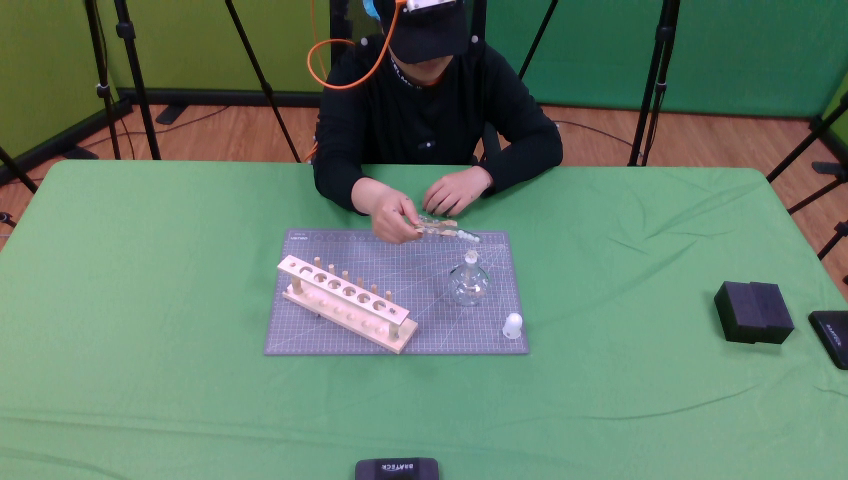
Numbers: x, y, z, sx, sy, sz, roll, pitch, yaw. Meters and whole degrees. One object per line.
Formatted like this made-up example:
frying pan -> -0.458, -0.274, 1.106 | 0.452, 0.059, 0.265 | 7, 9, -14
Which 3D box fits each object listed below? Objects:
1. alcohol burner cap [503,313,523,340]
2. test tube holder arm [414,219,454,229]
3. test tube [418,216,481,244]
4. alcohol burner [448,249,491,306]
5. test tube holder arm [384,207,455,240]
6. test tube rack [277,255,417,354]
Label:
alcohol burner cap -> 0.156, 0.148, 1.051 | 0.034, 0.048, 0.033 | 1, 45, -1
test tube holder arm -> 0.015, -0.026, 0.963 | 0.015, 0.010, 0.087 | -16, 14, -35
test tube -> 0.044, -0.015, 0.964 | 0.151, 0.017, 0.017 | 18, 28, -48
alcohol burner -> 0.081, 0.062, 1.078 | 0.078, 0.120, 0.077 | 1, 45, -1
test tube holder arm -> -0.012, -0.029, 0.999 | 0.015, 0.013, 0.177 | -16, 24, -35
test tube rack -> -0.131, 0.099, 1.045 | 0.241, 0.085, 0.066 | 23, 49, 17
